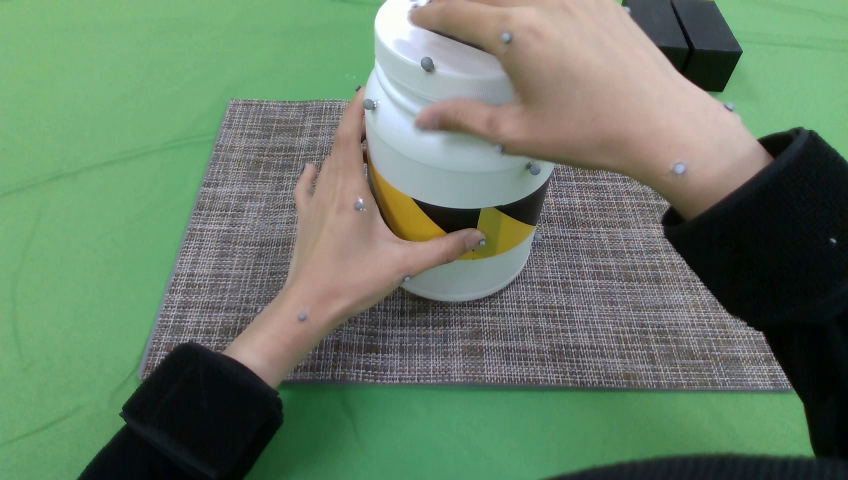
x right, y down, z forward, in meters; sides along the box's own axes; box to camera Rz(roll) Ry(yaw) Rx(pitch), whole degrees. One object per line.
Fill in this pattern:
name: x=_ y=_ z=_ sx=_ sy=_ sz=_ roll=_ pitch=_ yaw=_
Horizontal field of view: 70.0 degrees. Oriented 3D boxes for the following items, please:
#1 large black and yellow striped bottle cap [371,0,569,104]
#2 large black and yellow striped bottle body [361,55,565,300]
large black and yellow striped bottle cap: x=0.026 y=-0.119 z=0.353 sx=0.115 sy=0.019 sz=0.114 roll=3 pitch=47 yaw=-2
large black and yellow striped bottle body: x=0.023 y=-0.059 z=0.420 sx=0.131 sy=0.185 sz=0.129 roll=2 pitch=50 yaw=-2
